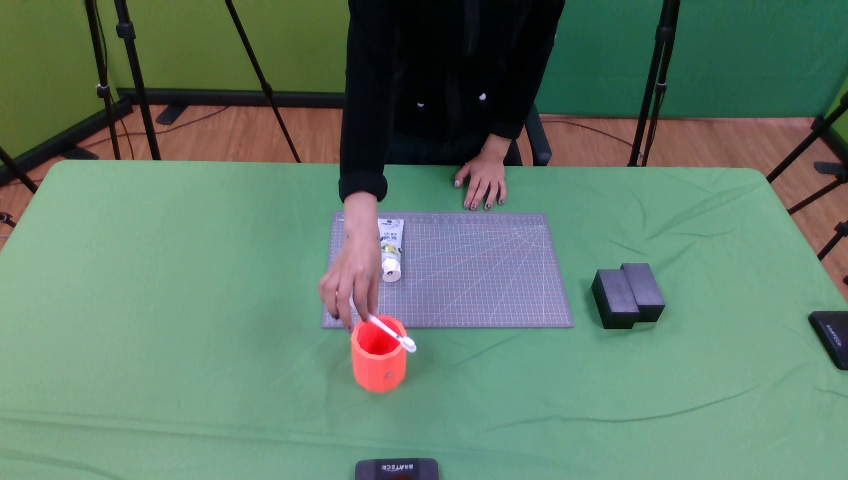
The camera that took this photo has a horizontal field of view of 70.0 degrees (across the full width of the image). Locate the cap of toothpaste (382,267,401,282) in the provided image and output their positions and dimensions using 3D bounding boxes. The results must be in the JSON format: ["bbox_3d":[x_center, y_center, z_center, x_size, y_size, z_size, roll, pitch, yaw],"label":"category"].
[{"bbox_3d":[-0.060,0.063,1.119,0.037,0.037,0.011,-9,50,-12],"label":"cap of toothpaste"}]

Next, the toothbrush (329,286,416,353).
[{"bbox_3d":[-0.081,0.115,0.910,0.181,0.017,0.014,31,60,30],"label":"toothbrush"}]

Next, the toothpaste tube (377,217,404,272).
[{"bbox_3d":[-0.063,0.008,1.179,0.055,0.034,0.164,5,42,-9],"label":"toothpaste tube"}]

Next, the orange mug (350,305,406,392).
[{"bbox_3d":[-0.080,0.168,0.978,0.083,0.101,0.125,-16,54,-18],"label":"orange mug"}]
